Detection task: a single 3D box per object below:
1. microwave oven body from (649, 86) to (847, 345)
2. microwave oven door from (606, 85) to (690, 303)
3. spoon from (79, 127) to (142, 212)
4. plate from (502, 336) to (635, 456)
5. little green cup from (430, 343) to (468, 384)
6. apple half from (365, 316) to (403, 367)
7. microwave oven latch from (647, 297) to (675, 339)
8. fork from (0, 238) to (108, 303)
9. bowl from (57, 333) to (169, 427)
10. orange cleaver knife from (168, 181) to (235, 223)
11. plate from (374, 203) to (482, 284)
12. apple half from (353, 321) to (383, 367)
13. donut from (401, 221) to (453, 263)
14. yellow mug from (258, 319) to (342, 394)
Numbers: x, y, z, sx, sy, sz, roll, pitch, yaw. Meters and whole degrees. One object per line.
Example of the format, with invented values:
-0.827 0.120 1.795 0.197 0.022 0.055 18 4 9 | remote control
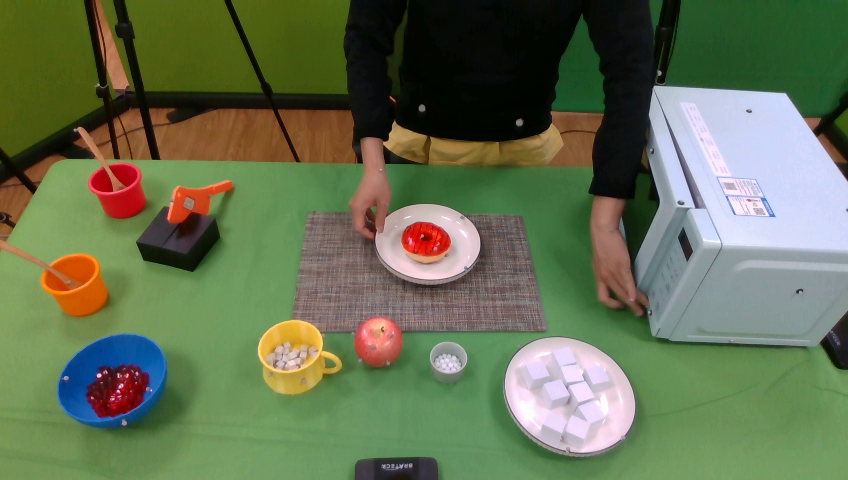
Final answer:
0.567 -0.053 1.118 0.326 0.261 0.439 2 45 -1 | microwave oven body
0.412 -0.095 1.141 0.039 0.245 0.353 5 46 1 | microwave oven door
-0.624 -0.140 1.203 0.041 0.021 0.194 -33 100 -26 | spoon
0.225 0.248 0.963 0.208 0.039 0.206 2 46 -2 | plate
0.039 0.203 0.994 0.061 0.039 0.061 2 46 -2 | little green cup
-0.063 0.165 1.000 0.053 0.075 0.080 -16 45 -24 | apple half
0.413 0.134 1.061 0.030 0.029 0.078 5 45 2 | microwave oven latch
-0.633 0.048 1.017 0.208 0.018 0.028 40 41 -27 | fork
-0.456 0.222 0.912 0.151 0.077 0.150 3 45 -2 | bowl
-0.436 -0.077 1.196 0.012 0.077 0.211 16 15 10 | orange cleaver knife
0.007 0.010 1.172 0.209 0.038 0.208 3 46 -2 | plate
-0.097 0.177 0.984 0.033 0.081 0.081 -17 49 -25 | apple half
0.006 0.003 1.163 0.099 0.048 0.098 2 43 -2 | donut
-0.195 0.189 0.972 0.131 0.064 0.099 9 46 4 | yellow mug
